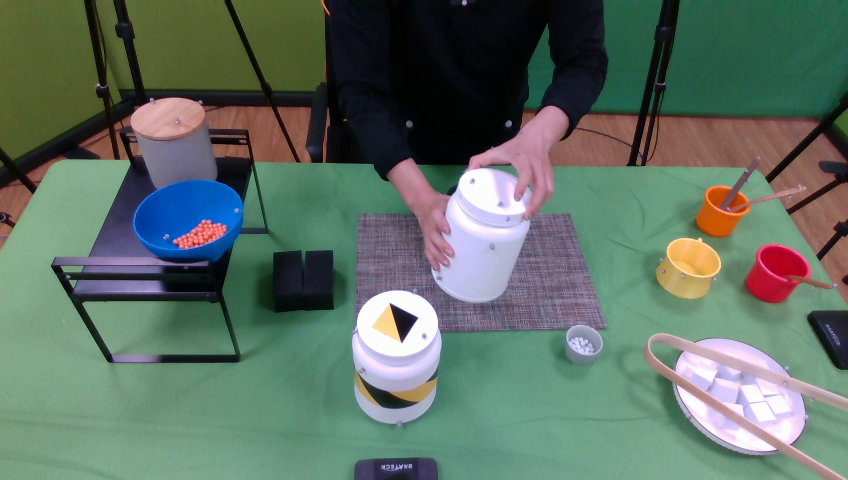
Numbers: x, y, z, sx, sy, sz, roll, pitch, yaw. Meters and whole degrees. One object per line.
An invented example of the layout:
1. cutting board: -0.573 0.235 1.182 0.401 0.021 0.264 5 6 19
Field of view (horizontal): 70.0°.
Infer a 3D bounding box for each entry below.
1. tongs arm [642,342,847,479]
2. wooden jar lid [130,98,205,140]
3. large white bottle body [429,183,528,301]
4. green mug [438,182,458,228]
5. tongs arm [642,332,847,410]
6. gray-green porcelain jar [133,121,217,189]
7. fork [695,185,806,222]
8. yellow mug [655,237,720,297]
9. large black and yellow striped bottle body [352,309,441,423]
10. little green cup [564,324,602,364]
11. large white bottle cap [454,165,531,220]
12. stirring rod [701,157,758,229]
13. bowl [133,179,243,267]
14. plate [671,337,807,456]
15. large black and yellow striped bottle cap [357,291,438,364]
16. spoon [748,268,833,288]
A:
1. tongs arm: 0.504 0.279 0.918 0.386 0.028 0.028 33 59 22
2. wooden jar lid: -0.393 -0.183 0.934 0.108 0.021 0.107 3 43 -2
3. large white bottle body: 0.087 -0.009 0.956 0.131 0.185 0.130 8 41 -7
4. green mug: 0.071 -0.039 1.178 0.092 0.105 0.124 12 47 7
5. tongs arm: 0.546 0.227 0.968 0.384 0.026 0.050 22 52 13
6. gray-green porcelain jar: -0.397 -0.141 0.979 0.106 0.127 0.105 2 47 -2
7. fork: 0.657 -0.074 1.230 0.207 0.019 0.028 -23 37 37
8. yellow mug: 0.509 0.041 1.167 0.099 0.064 0.130 24 48 18
9. large black and yellow striped bottle body: -0.042 0.178 0.912 0.131 0.185 0.130 2 46 -2
10. little green cup: 0.269 0.179 1.035 0.061 0.039 0.061 3 45 -3
11. large white bottle cap: 0.102 -0.072 0.902 0.115 0.018 0.114 8 41 -7
12. stirring rod: 0.634 -0.097 1.257 0.014 0.006 0.176 38 97 29
13. bowl: -0.339 -0.013 0.895 0.151 0.077 0.150 2 46 -2
14. plate: 0.504 0.254 0.984 0.208 0.039 0.206 2 46 -2
15. large black and yellow striped bottle cap: -0.037 0.121 0.851 0.115 0.019 0.114 1 46 -1
16. spoon: 0.660 0.068 1.098 0.041 0.193 0.021 -4 91 -6
